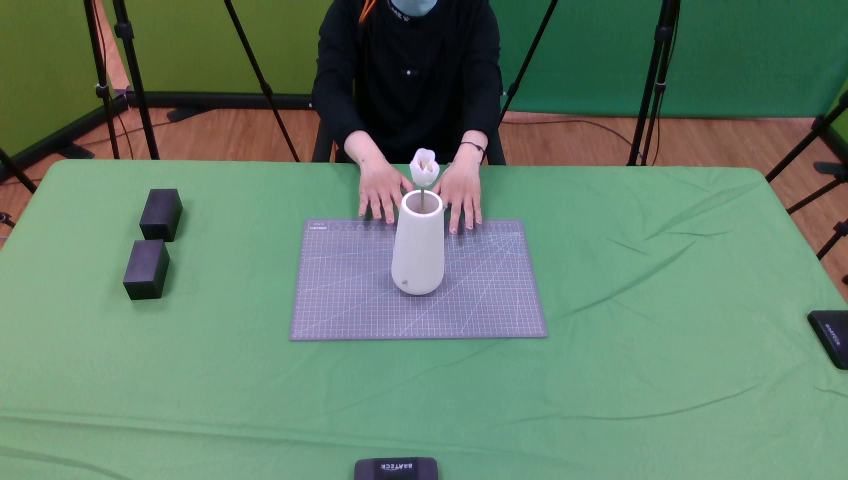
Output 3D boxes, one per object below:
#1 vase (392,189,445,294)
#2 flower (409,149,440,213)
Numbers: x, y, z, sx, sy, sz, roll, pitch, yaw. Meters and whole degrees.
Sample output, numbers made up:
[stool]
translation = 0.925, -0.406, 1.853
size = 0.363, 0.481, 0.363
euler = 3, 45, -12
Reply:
[vase]
translation = -0.006, 0.006, 1.060
size = 0.098, 0.201, 0.097
euler = 2, 48, -2
[flower]
translation = -0.005, -0.038, 0.989
size = 0.038, 0.363, 0.044
euler = -31, 71, -15
